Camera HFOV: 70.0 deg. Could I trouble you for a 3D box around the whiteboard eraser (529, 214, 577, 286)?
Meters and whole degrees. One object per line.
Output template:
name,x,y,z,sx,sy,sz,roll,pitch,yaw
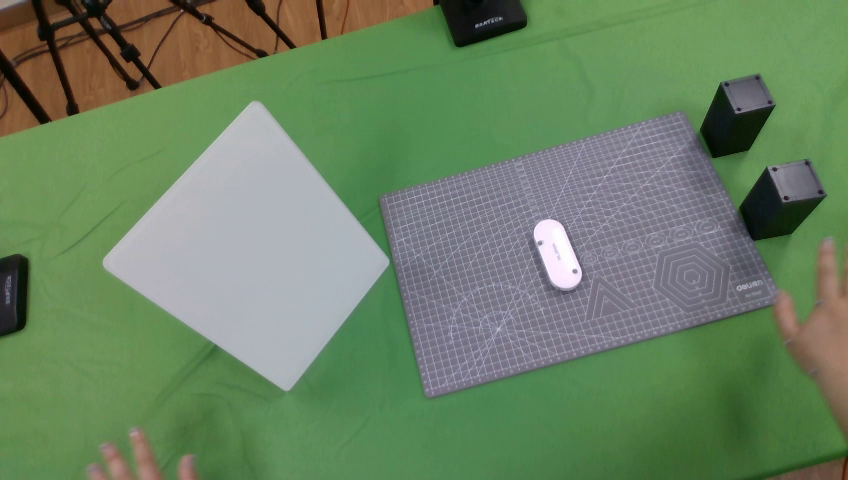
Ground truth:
whiteboard eraser,0.167,0.011,0.788,0.041,0.019,0.100,-17,65,0

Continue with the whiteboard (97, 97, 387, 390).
whiteboard,-0.220,0.001,0.728,0.142,0.309,0.217,25,71,39
